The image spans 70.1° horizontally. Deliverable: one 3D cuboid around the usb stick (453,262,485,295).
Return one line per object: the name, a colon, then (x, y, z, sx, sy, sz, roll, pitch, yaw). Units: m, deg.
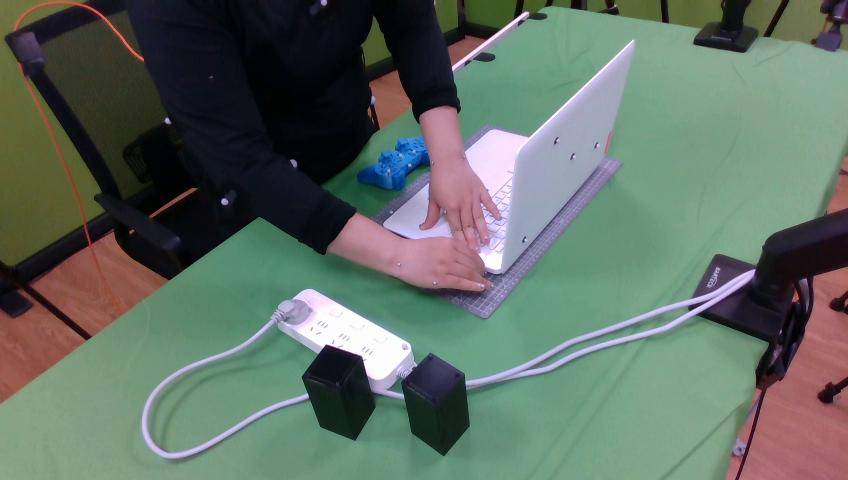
usb stick: (0.071, 0.052, 0.892, 0.021, 0.027, 0.059, 24, 52, 38)

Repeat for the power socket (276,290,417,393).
power socket: (-0.113, 0.133, 0.821, 0.225, 0.033, 0.072, 24, 48, 32)

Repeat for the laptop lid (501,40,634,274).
laptop lid: (0.219, -0.127, 0.906, 0.013, 0.242, 0.358, 27, 50, 25)

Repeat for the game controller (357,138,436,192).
game controller: (-0.047, -0.149, 1.136, 0.096, 0.052, 0.155, 27, 51, 28)

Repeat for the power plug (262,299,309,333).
power plug: (-0.192, 0.110, 0.831, 0.073, 0.053, 0.035, -35, 48, -23)

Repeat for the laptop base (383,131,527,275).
laptop base: (0.125, -0.080, 1.050, 0.233, 0.023, 0.355, 20, 47, 32)
